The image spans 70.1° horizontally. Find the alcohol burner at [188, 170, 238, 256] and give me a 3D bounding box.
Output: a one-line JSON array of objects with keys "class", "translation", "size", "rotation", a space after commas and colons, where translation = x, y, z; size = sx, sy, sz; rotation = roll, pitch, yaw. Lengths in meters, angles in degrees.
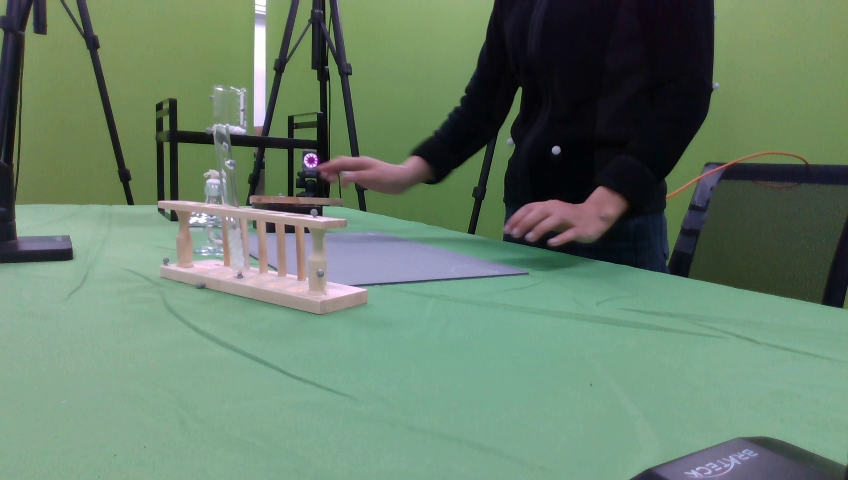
[{"class": "alcohol burner", "translation": [-0.296, -0.038, 0.851], "size": [0.078, 0.119, 0.078], "rotation": [2, 5, 0]}]

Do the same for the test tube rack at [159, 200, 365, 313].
[{"class": "test tube rack", "translation": [-0.173, 0.009, 0.624], "size": [0.241, 0.085, 0.067], "rotation": [7, 9, 34]}]

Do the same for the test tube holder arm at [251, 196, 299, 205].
[{"class": "test tube holder arm", "translation": [-0.275, -0.073, 1.120], "size": [0.088, 0.015, 0.010], "rotation": [-1, 7, -33]}]

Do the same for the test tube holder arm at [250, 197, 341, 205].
[{"class": "test tube holder arm", "translation": [-0.241, -0.074, 1.150], "size": [0.179, 0.015, 0.013], "rotation": [-1, 7, -35]}]

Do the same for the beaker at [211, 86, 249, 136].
[{"class": "beaker", "translation": [-0.413, -0.274, 1.297], "size": [0.074, 0.100, 0.083], "rotation": [-5, 11, -44]}]

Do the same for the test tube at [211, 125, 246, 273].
[{"class": "test tube", "translation": [-0.198, -0.040, 0.614], "size": [0.017, 0.150, 0.017], "rotation": [-5, 7, 1]}]

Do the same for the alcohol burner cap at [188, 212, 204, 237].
[{"class": "alcohol burner cap", "translation": [-0.389, -0.029, 1.026], "size": [0.034, 0.048, 0.034], "rotation": [2, 9, 0]}]
